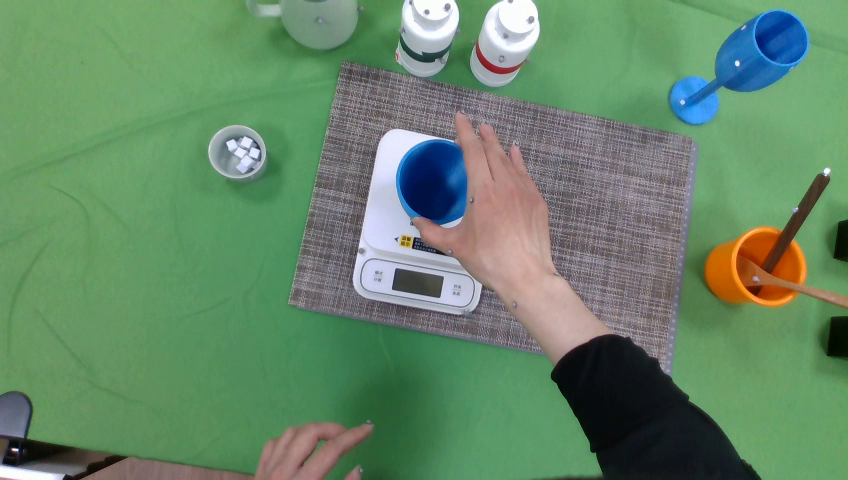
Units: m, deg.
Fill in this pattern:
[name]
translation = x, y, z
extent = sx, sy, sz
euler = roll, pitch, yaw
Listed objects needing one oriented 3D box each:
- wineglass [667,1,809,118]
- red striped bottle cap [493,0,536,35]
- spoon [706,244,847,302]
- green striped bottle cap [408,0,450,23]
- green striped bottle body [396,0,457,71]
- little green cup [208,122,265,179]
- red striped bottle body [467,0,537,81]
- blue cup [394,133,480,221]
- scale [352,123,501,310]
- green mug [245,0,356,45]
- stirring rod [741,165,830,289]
[wineglass]
translation = 0.351, -0.200, 0.694
extent = 0.074, 0.172, 0.073
euler = 1, 82, -5
[red striped bottle cap]
translation = 0.097, -0.243, 0.646
extent = 0.044, 0.018, 0.044
euler = 1, 84, -6
[spoon]
translation = 0.416, 0.046, 0.682
extent = 0.022, 0.192, 0.041
euler = 28, 86, -46
[green striped bottle cap]
translation = 0.006, -0.253, 0.638
extent = 0.044, 0.020, 0.044
euler = 1, 82, -6
[green striped bottle body]
translation = 0.002, -0.245, 0.689
extent = 0.063, 0.119, 0.063
euler = 1, 81, -6
[little green cup]
translation = -0.209, -0.099, 0.687
extent = 0.062, 0.038, 0.061
euler = 1, 82, -7
[red striped bottle body]
translation = 0.091, -0.235, 0.697
extent = 0.063, 0.120, 0.063
euler = 1, 82, -6
[blue cup]
translation = 0.009, -0.058, 0.640
extent = 0.093, 0.100, 0.092
euler = 1, 85, -6
[scale]
translation = 0.004, -0.028, 0.701
extent = 0.149, 0.031, 0.200
euler = 10, 82, -5
[green mug]
translation = -0.140, -0.280, 0.686
extent = 0.125, 0.105, 0.092
euler = -11, 84, -7
[stirring rod]
translation = 0.407, -0.009, 0.688
extent = 0.014, 0.177, 0.006
euler = 17, 40, 10
